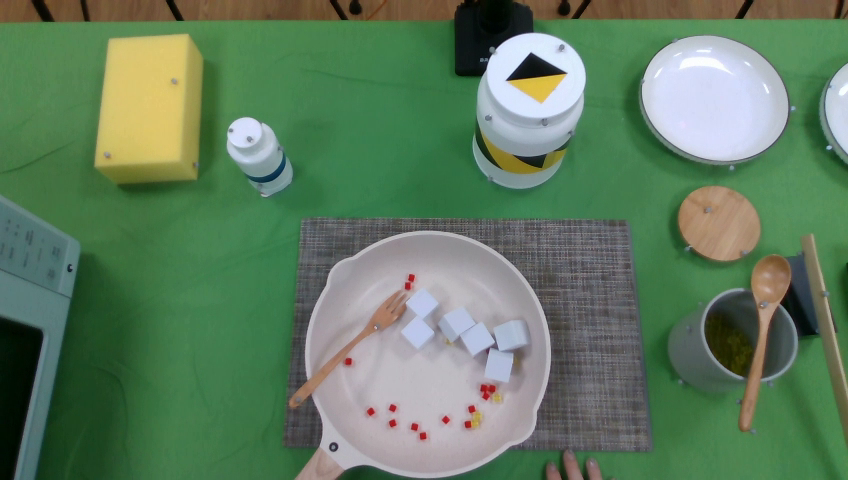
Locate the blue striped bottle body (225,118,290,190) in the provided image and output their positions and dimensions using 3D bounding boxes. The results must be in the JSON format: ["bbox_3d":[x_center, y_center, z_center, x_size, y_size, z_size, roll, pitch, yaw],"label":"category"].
[{"bbox_3d":[-0.223,-0.119,0.807,0.063,0.121,0.062,0,71,1],"label":"blue striped bottle body"}]

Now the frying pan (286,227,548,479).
[{"bbox_3d":[-0.068,0.199,0.708,0.305,0.103,0.487,40,69,13],"label":"frying pan"}]

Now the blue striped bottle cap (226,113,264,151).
[{"bbox_3d":[-0.225,-0.136,0.759,0.044,0.021,0.044,0,74,1],"label":"blue striped bottle cap"}]

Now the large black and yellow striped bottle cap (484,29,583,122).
[{"bbox_3d":[0.127,-0.192,0.705,0.115,0.019,0.114,0,73,1],"label":"large black and yellow striped bottle cap"}]

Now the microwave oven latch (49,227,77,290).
[{"bbox_3d":[-0.477,0.023,0.789,0.030,0.029,0.078,3,73,2],"label":"microwave oven latch"}]

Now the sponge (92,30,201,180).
[{"bbox_3d":[-0.391,-0.194,0.865,0.118,0.061,0.205,-4,73,-1],"label":"sponge"}]

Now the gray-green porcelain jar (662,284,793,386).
[{"bbox_3d":[0.351,0.118,0.720,0.106,0.127,0.105,0,72,1],"label":"gray-green porcelain jar"}]

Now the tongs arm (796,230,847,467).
[{"bbox_3d":[0.501,0.175,0.709,0.051,0.026,0.383,-7,84,-5],"label":"tongs arm"}]

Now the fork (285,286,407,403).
[{"bbox_3d":[-0.092,0.125,0.742,0.028,0.019,0.207,43,53,7],"label":"fork"}]

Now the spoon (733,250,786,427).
[{"bbox_3d":[0.355,0.104,0.650,0.041,0.022,0.193,17,77,3],"label":"spoon"}]

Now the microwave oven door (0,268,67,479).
[{"bbox_3d":[-0.487,0.199,0.626,0.039,0.245,0.353,1,72,2],"label":"microwave oven door"}]

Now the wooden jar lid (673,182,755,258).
[{"bbox_3d":[0.391,-0.026,0.822,0.108,0.021,0.108,0,73,1],"label":"wooden jar lid"}]

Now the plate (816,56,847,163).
[{"bbox_3d":[0.657,-0.172,0.854,0.209,0.038,0.208,0,72,1],"label":"plate"}]

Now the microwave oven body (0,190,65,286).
[{"bbox_3d":[-0.632,0.158,0.647,0.326,0.261,0.439,1,73,1],"label":"microwave oven body"}]

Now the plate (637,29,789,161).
[{"bbox_3d":[0.408,-0.205,0.870,0.208,0.039,0.206,0,72,1],"label":"plate"}]

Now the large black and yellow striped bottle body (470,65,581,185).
[{"bbox_3d":[0.128,-0.165,0.785,0.131,0.185,0.130,0,71,1],"label":"large black and yellow striped bottle body"}]
